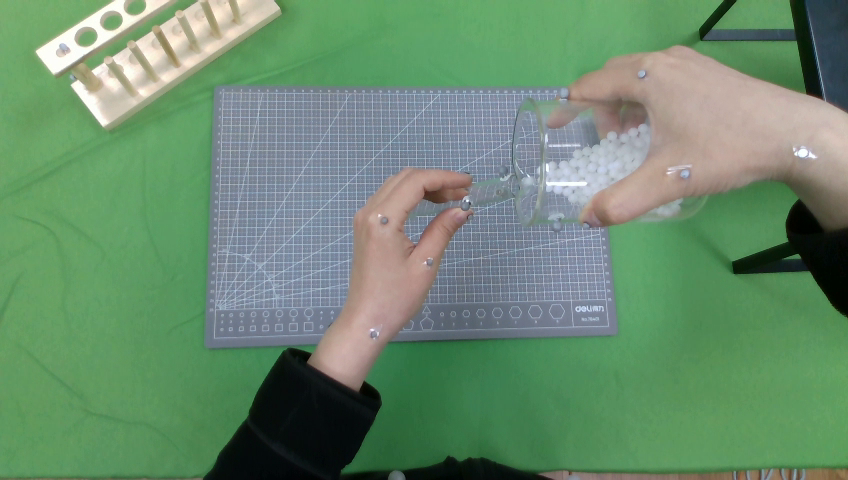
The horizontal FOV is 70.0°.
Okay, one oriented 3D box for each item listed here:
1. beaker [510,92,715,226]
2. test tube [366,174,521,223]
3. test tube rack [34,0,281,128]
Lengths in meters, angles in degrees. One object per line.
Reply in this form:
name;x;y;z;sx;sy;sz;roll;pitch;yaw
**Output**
beaker;0.106;-0.045;0.354;0.100;0.084;0.073;-1;75;-4
test tube;0.007;-0.028;0.441;0.017;0.149;0.017;7;79;-43
test tube rack;-0.282;-0.233;0.668;0.242;0.085;0.066;-38;83;-11
